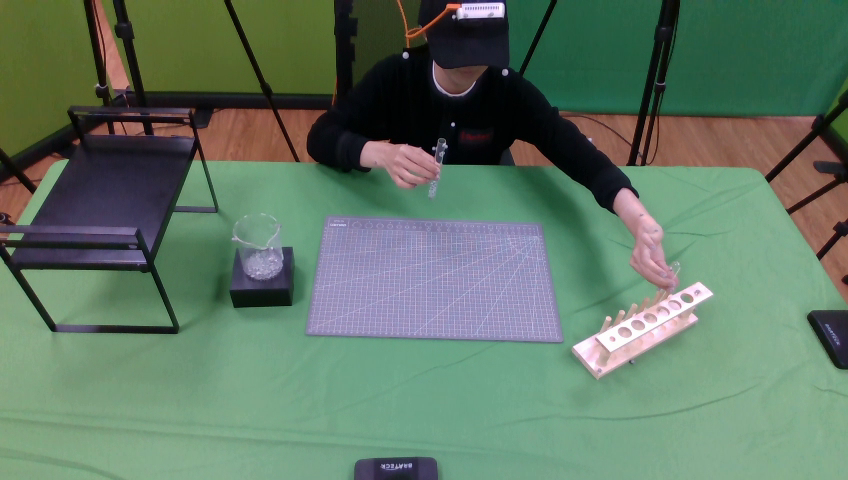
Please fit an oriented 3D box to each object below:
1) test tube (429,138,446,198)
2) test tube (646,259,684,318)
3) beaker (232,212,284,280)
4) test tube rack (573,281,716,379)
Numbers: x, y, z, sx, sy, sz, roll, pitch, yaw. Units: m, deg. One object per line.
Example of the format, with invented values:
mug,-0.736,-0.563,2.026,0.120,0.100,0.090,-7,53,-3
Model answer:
test tube,0.024,-0.131,1.130,0.017,0.151,0.017,4,51,-5
test tube,0.408,0.084,1.031,0.017,0.151,0.017,3,47,-3
beaker,-0.280,0.016,1.037,0.074,0.101,0.083,-18,50,-20
test tube rack,0.378,0.140,1.038,0.242,0.085,0.066,-22,51,-23
